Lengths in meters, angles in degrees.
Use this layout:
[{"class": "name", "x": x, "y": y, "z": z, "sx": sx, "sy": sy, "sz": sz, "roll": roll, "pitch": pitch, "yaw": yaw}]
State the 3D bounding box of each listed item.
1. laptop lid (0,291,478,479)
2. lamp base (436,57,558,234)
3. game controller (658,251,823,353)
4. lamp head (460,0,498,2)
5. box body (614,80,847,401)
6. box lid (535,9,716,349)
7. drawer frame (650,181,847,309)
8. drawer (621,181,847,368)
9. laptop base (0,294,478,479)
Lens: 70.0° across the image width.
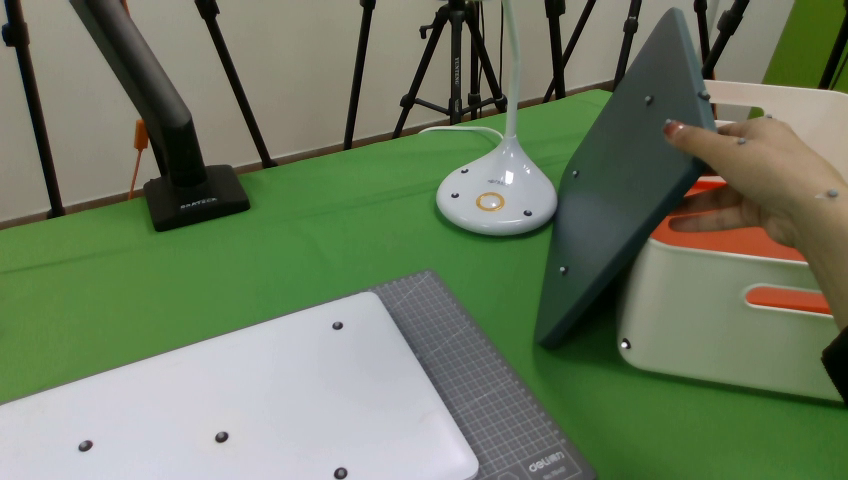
[{"class": "laptop lid", "x": -0.161, "y": 0.162, "z": 0.492, "sx": 0.357, "sy": 0.013, "sz": 0.239, "roll": -15, "pitch": 41, "yaw": -19}, {"class": "lamp base", "x": 0.097, "y": -0.126, "z": 0.763, "sx": 0.160, "sy": 0.182, "sz": 0.178, "roll": 7, "pitch": 35, "yaw": 11}, {"class": "game controller", "x": 0.313, "y": 0.059, "z": 0.601, "sx": 0.155, "sy": 0.052, "sz": 0.096, "roll": 2, "pitch": 65, "yaw": 5}, {"class": "lamp head", "x": 0.050, "y": -0.289, "z": 0.534, "sx": 0.112, "sy": 0.113, "sz": 0.122, "roll": 4, "pitch": 77, "yaw": 7}, {"class": "box body", "x": 0.336, "y": -0.022, "z": 0.635, "sx": 0.253, "sy": 0.162, "sz": 0.361, "roll": 7, "pitch": 37, "yaw": 11}, {"class": "box lid", "x": 0.202, "y": -0.077, "z": 0.642, "sx": 0.015, "sy": 0.264, "sz": 0.369, "roll": 26, "pitch": 39, "yaw": -2}, {"class": "drawer frame", "x": 0.314, "y": 0.024, "z": 0.628, "sx": 0.201, "sy": 0.083, "sz": 0.212, "roll": 4, "pitch": 35, "yaw": 7}, {"class": "drawer", "x": 0.316, "y": 0.024, "z": 0.626, "sx": 0.194, "sy": 0.074, "sz": 0.210, "roll": 6, "pitch": 36, "yaw": 7}, {"class": "laptop base", "x": -0.162, "y": 0.170, "z": 0.501, "sx": 0.355, "sy": 0.023, "sz": 0.232, "roll": -16, "pitch": 43, "yaw": -20}]
